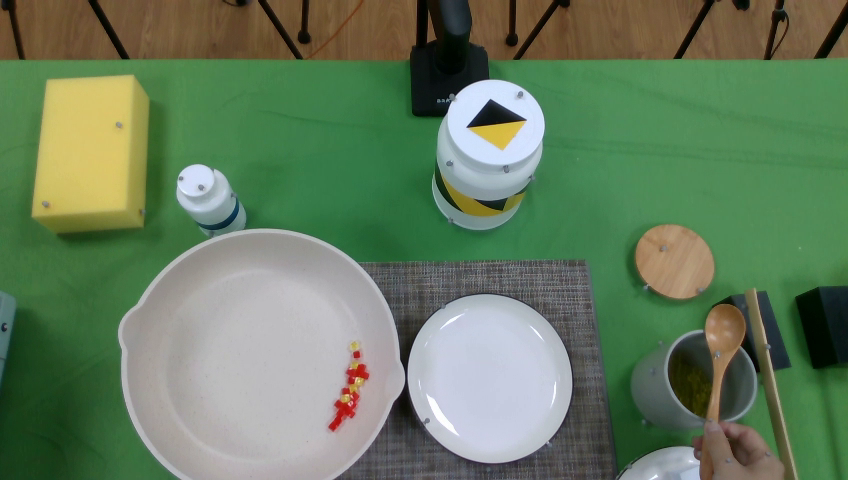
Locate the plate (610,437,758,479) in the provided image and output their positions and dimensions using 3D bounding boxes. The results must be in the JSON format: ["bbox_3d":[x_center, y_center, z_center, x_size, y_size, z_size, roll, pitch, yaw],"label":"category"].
[{"bbox_3d":[0.308,0.340,0.713,0.208,0.039,0.206,1,70,-2],"label":"plate"}]

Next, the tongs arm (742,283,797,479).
[{"bbox_3d":[0.446,0.239,0.728,0.051,0.026,0.383,-6,81,-7],"label":"tongs arm"}]

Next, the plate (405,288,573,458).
[{"bbox_3d":[0.079,0.163,0.759,0.209,0.038,0.207,1,70,-2],"label":"plate"}]

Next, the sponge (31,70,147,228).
[{"bbox_3d":[-0.449,-0.125,0.822,0.118,0.061,0.205,-6,72,-6],"label":"sponge"}]

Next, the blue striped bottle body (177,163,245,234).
[{"bbox_3d":[-0.274,-0.055,0.776,0.063,0.121,0.062,1,70,-2],"label":"blue striped bottle body"}]

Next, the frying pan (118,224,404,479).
[{"bbox_3d":[-0.187,0.219,0.633,0.308,0.103,0.484,16,60,-16],"label":"frying pan"}]

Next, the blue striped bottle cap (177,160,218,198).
[{"bbox_3d":[-0.272,-0.074,0.728,0.044,0.021,0.044,1,72,-3],"label":"blue striped bottle cap"}]

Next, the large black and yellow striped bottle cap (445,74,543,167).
[{"bbox_3d":[0.082,-0.140,0.704,0.115,0.019,0.114,1,72,-3],"label":"large black and yellow striped bottle cap"}]

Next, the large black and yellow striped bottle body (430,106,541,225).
[{"bbox_3d":[0.077,-0.110,0.783,0.131,0.185,0.130,1,70,-3],"label":"large black and yellow striped bottle body"}]

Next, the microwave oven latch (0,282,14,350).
[{"bbox_3d":[-0.523,0.092,0.733,0.030,0.029,0.078,2,71,-3],"label":"microwave oven latch"}]

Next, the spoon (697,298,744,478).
[{"bbox_3d":[0.312,0.157,0.654,0.041,0.022,0.193,8,70,28],"label":"spoon"}]

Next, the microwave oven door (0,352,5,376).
[{"bbox_3d":[-0.514,0.263,0.565,0.039,0.245,0.353,-1,70,-3],"label":"microwave oven door"}]

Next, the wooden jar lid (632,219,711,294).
[{"bbox_3d":[0.340,0.024,0.837,0.108,0.021,0.107,1,72,-2],"label":"wooden jar lid"}]

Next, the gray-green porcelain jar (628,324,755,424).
[{"bbox_3d":[0.312,0.165,0.728,0.106,0.127,0.105,1,70,-2],"label":"gray-green porcelain jar"}]
